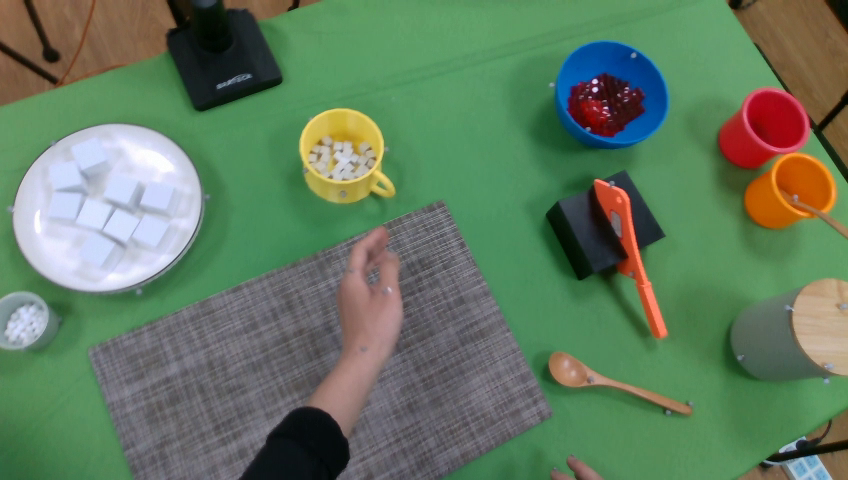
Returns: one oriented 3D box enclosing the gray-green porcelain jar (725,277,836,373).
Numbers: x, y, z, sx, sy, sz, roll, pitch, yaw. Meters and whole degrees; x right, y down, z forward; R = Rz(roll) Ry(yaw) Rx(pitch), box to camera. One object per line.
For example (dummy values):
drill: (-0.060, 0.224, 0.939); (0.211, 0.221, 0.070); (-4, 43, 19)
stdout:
gray-green porcelain jar: (0.440, 0.106, 0.733); (0.106, 0.127, 0.105); (2, 73, -7)

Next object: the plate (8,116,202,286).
plate: (-0.366, -0.045, 0.712); (0.208, 0.039, 0.206); (2, 74, -7)

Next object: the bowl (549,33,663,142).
bowl: (0.232, -0.190, 0.814); (0.152, 0.077, 0.150); (2, 74, -7)

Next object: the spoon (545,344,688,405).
spoon: (0.236, 0.170, 0.740); (0.194, 0.022, 0.041); (18, 55, -2)

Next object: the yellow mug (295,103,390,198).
yellow mug: (-0.095, -0.101, 0.751); (0.131, 0.064, 0.099); (35, 72, 3)

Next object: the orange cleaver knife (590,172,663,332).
orange cleaver knife: (0.251, 0.014, 0.756); (0.012, 0.077, 0.212); (-23, 102, -10)

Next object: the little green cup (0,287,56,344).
little green cup: (-0.438, 0.085, 0.663); (0.062, 0.039, 0.061); (3, 74, -8)

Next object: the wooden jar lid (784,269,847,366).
wooden jar lid: (0.448, 0.087, 0.672); (0.108, 0.021, 0.108); (2, 74, -5)

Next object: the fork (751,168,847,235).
fork: (0.490, -0.042, 0.769); (0.028, 0.019, 0.205); (-10, 32, -9)
